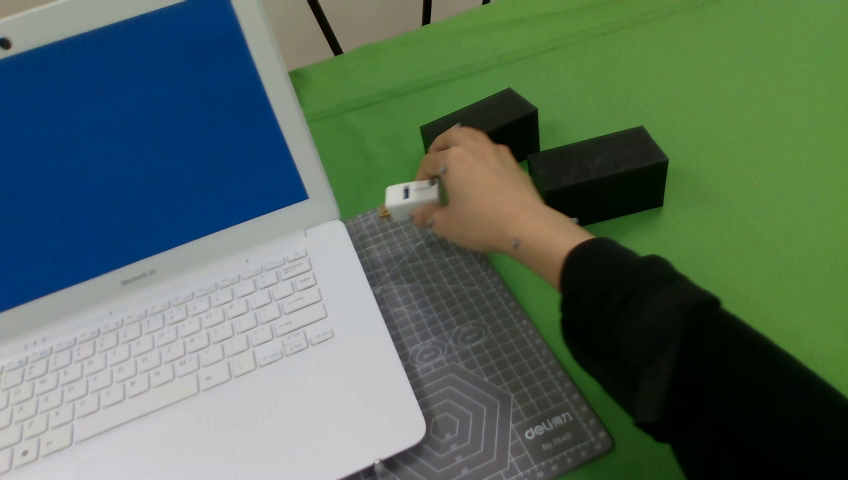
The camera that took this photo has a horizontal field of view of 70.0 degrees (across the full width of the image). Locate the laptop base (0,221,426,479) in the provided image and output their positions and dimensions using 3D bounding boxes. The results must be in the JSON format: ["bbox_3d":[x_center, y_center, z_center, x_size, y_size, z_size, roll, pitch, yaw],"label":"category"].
[{"bbox_3d":[-0.196,0.121,0.447,0.354,0.023,0.232,-22,48,-8],"label":"laptop base"}]

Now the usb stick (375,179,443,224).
[{"bbox_3d":[-0.015,-0.030,0.493,0.059,0.027,0.021,-12,56,19],"label":"usb stick"}]

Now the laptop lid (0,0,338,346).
[{"bbox_3d":[-0.267,-0.049,0.471,0.357,0.244,0.013,-23,30,-7],"label":"laptop lid"}]
